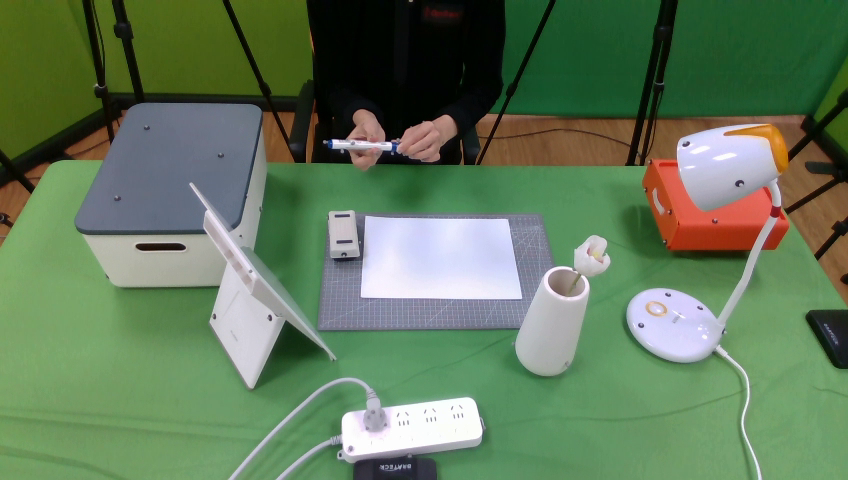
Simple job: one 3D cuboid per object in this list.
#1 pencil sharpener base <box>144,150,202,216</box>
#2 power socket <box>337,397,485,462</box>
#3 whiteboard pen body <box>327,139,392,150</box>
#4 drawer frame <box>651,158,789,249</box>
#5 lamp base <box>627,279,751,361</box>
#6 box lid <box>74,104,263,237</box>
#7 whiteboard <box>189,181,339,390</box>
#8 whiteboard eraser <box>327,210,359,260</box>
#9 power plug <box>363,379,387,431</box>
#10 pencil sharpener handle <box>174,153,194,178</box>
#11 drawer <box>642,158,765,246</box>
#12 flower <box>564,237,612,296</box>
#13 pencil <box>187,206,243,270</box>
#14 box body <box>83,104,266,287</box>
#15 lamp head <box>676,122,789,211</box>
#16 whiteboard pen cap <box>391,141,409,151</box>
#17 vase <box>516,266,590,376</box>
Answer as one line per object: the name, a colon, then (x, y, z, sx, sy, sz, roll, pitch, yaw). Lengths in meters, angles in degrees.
pencil sharpener base: (-0.493, -0.113, 1.199, 0.061, 0.107, 0.076, 15, 47, 12)
power socket: (-0.018, 0.285, 0.915, 0.227, 0.033, 0.071, -5, 46, -8)
whiteboard pen body: (-0.101, -0.167, 1.066, 0.141, 0.017, 0.017, -2, 45, -24)
drawer frame: (0.571, -0.075, 1.214, 0.214, 0.083, 0.200, 0, 46, -1)
lamp base: (0.460, 0.100, 1.027, 0.178, 0.181, 0.160, 27, 51, 17)
box lid: (-0.443, -0.139, 1.095, 0.263, 0.015, 0.369, -1, 45, -5)
whiteboard: (-0.292, 0.096, 0.929, 0.144, 0.307, 0.216, -37, 57, -10)
whiteboard eraser: (-0.158, -0.009, 1.177, 0.055, 0.042, 0.112, -6, 47, -7)
power plug: (-0.072, 0.252, 0.910, 0.035, 0.053, 0.072, 3, 45, -1)
pencil sharpener handle: (-0.479, -0.156, 1.225, 0.036, 0.068, 0.030, 24, 48, 2)
drawer: (0.565, -0.076, 1.211, 0.212, 0.073, 0.193, 2, 45, -2)
flower: (0.206, 0.088, 0.893, 0.038, 0.363, 0.044, -17, 67, -10)
pencil: (-0.401, -0.008, 1.176, 0.012, 0.012, 0.193, 15, 44, 10)
box body: (-0.447, -0.088, 1.150, 0.254, 0.161, 0.361, -1, 46, -5)
lamp head: (0.423, -0.104, 0.819, 0.122, 0.113, 0.112, -13, 33, 40)
whiteboard pen cap: (-0.045, -0.168, 1.090, 0.033, 0.018, 0.018, -8, 47, -23)
vase: (0.208, 0.132, 0.964, 0.098, 0.201, 0.097, 3, 46, -3)
